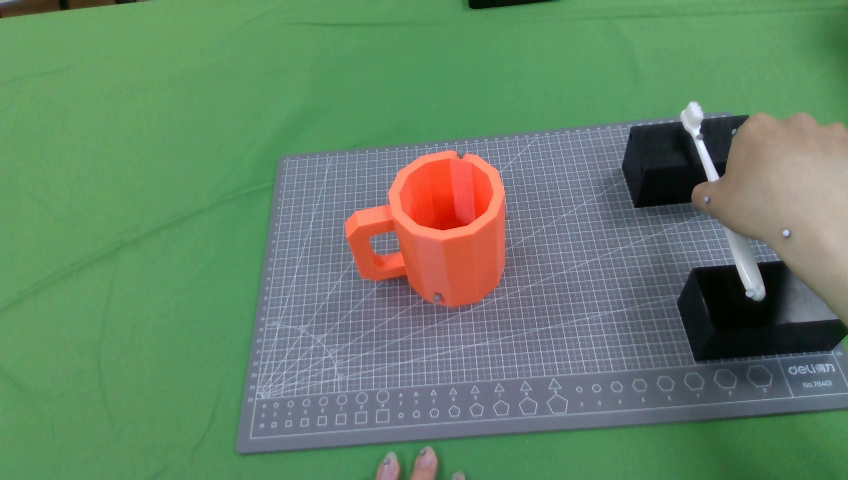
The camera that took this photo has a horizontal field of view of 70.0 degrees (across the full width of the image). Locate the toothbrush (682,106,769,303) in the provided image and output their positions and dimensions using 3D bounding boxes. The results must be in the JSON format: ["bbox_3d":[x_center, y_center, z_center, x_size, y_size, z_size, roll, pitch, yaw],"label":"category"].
[{"bbox_3d":[0.226,-0.034,0.457,0.014,0.017,0.180,3,56,-7],"label":"toothbrush"}]

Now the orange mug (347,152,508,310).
[{"bbox_3d":[0.005,-0.002,0.479,0.126,0.102,0.082,-9,54,-5],"label":"orange mug"}]
